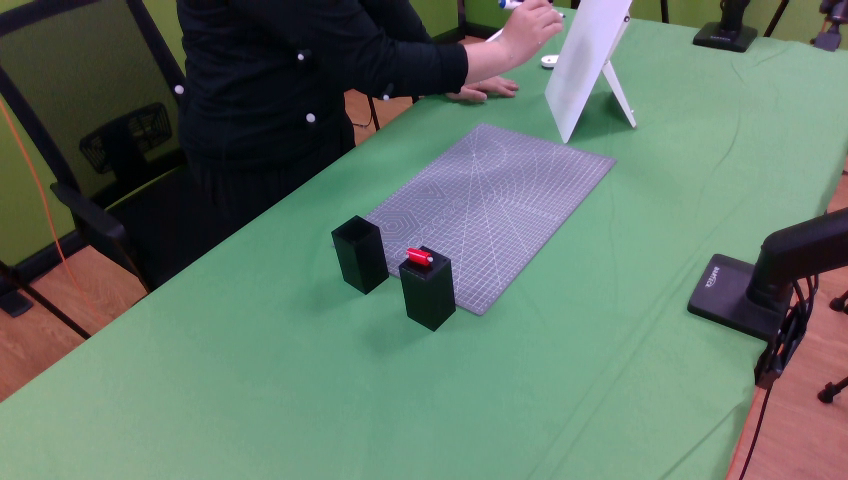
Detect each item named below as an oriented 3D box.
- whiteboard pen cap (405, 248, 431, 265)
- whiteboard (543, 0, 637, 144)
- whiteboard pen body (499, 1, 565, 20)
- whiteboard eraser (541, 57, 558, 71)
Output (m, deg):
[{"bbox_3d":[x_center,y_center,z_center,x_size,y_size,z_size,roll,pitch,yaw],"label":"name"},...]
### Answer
[{"bbox_3d":[-0.008,0.021,0.794,0.032,0.017,0.017,17,46,28],"label":"whiteboard pen cap"},{"bbox_3d":[0.366,-0.351,1.160,0.144,0.305,0.216,9,39,-10],"label":"whiteboard"},{"bbox_3d":[0.197,-0.410,1.088,0.141,0.017,0.016,1,35,-25],"label":"whiteboard pen body"},{"bbox_3d":[0.323,-0.412,1.408,0.101,0.019,0.041,2,42,11],"label":"whiteboard eraser"}]
